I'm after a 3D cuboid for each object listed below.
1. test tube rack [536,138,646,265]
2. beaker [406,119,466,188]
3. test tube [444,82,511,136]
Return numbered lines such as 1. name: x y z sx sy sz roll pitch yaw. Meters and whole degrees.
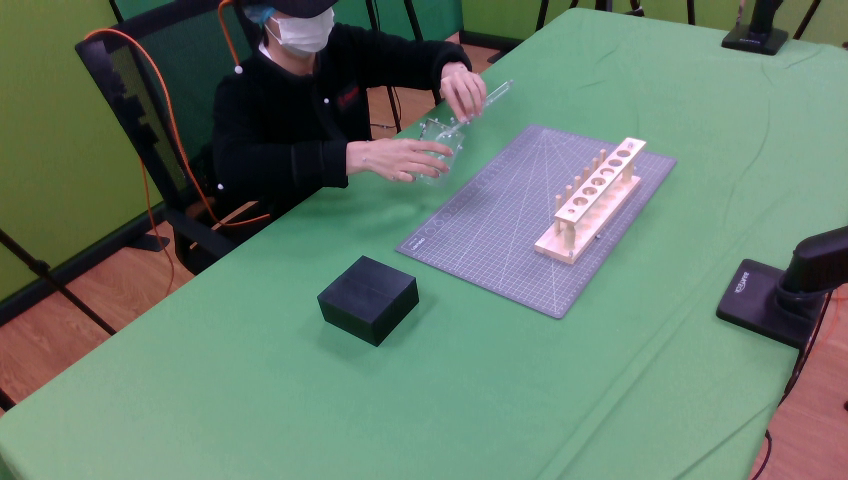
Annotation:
1. test tube rack: 0.268 -0.071 0.964 0.066 0.085 0.243 23 49 32
2. beaker: 0.017 -0.144 1.023 0.074 0.100 0.084 24 8 1
3. test tube: 0.094 -0.227 1.044 0.150 0.017 0.017 -39 47 -13
